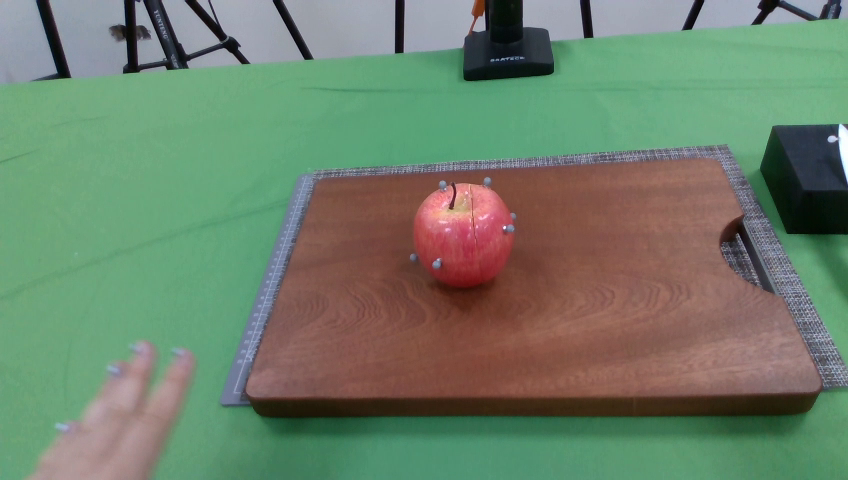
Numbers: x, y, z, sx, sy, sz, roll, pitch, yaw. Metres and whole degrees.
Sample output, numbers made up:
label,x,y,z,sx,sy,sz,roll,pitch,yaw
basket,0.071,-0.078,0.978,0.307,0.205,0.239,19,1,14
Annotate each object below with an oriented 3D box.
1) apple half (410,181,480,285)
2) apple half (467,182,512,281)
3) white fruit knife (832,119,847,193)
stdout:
label,x,y,z,sx,sy,sz,roll,pitch,yaw
apple half,0.016,-0.003,0.490,0.053,0.075,0.080,-8,46,7
apple half,0.055,-0.008,0.487,0.033,0.082,0.080,-8,42,7
white fruit knife,0.357,-0.014,0.485,0.027,0.016,0.205,-1,62,8
